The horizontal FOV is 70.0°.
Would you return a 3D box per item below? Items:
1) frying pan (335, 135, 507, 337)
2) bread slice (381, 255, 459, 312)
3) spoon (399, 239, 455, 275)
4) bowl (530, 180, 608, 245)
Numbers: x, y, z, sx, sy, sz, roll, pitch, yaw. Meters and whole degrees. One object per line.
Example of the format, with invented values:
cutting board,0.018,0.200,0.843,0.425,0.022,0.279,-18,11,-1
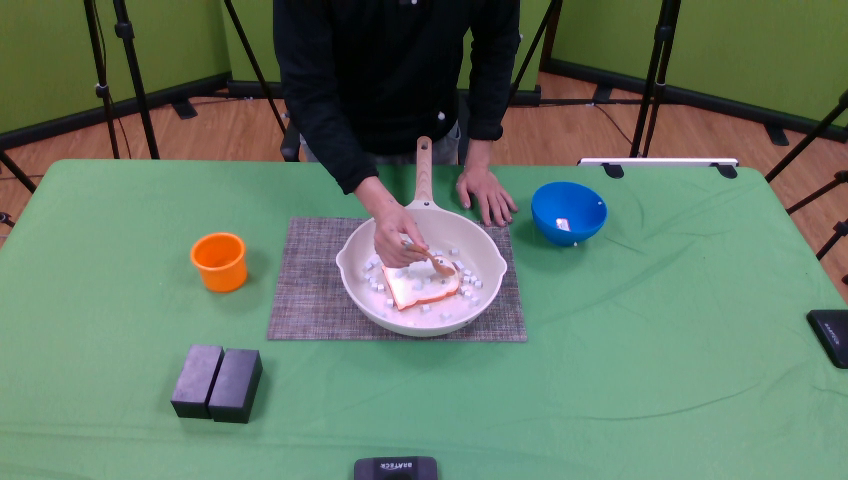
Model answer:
frying pan,-0.003,-0.026,1.160,0.307,0.103,0.485,4,55,-2
bread slice,-0.004,0.074,1.119,0.134,0.018,0.106,-16,51,-15
spoon,0.004,0.028,1.035,0.041,0.195,0.021,33,86,32
bowl,0.284,-0.044,1.222,0.151,0.077,0.150,2,46,-2
